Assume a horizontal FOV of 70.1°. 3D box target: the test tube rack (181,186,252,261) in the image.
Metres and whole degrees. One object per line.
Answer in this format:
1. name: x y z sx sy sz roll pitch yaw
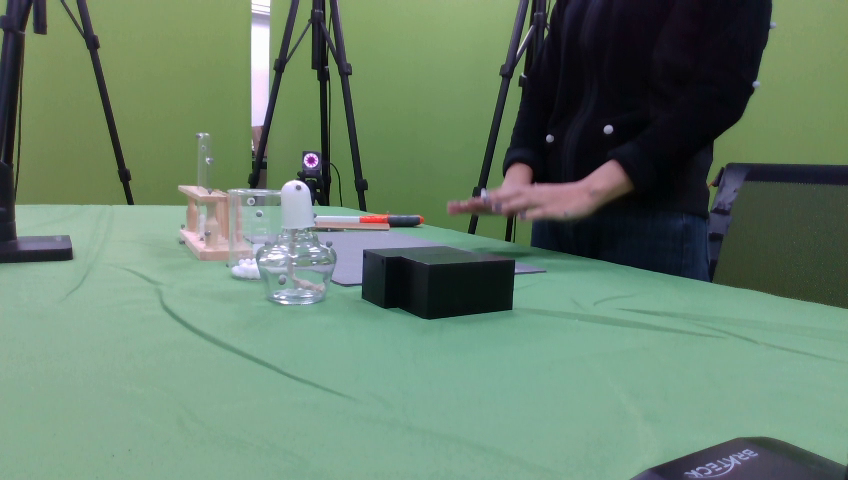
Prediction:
1. test tube rack: -0.312 -0.031 0.893 0.067 0.085 0.241 -1 8 -27

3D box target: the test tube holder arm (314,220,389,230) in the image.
1. test tube holder arm: -0.153 -0.028 1.175 0.179 0.015 0.013 1 -26 -21

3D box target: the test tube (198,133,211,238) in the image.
1. test tube: -0.316 -0.078 0.871 0.017 0.150 0.017 2 3 0

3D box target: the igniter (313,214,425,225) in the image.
1. igniter: -0.129 -0.044 1.273 0.278 0.025 0.057 -1 -2 -26

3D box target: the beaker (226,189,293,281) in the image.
1. beaker: -0.184 -0.007 0.694 0.084 0.100 0.073 -1 8 -29

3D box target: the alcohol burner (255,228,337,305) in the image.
1. alcohol burner: -0.124 0.002 0.585 0.078 0.119 0.078 0 7 0

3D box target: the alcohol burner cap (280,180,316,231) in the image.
1. alcohol burner cap: -0.122 -0.034 0.581 0.034 0.048 0.034 -3 10 1

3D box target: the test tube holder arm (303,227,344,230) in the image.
1. test tube holder arm: -0.197 -0.026 1.163 0.088 0.015 0.010 0 -25 -20
